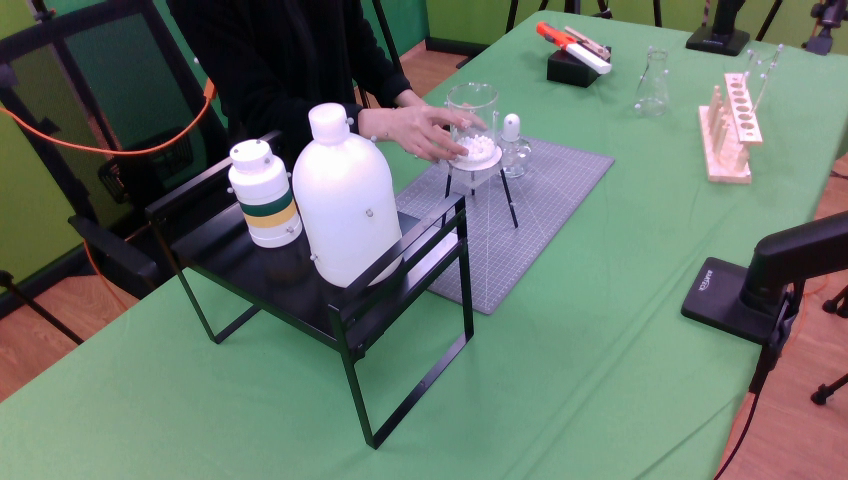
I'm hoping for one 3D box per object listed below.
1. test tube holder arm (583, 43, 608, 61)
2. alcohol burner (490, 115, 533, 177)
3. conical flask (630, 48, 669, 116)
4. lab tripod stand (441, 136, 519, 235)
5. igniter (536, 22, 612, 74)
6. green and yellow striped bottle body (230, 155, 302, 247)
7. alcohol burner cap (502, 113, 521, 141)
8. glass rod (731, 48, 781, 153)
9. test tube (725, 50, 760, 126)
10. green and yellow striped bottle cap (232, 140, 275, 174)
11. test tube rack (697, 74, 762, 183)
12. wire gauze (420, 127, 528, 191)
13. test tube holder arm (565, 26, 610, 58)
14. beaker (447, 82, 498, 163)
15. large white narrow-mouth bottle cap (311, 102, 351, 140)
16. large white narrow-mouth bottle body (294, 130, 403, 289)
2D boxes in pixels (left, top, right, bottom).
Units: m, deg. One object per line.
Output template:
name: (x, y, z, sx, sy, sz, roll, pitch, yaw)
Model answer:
test tube holder arm: (0.379, -0.420, 1.341, 0.010, 0.015, 0.087, -39, 41, 10)
alcohol burner: (0.157, -0.173, 1.083, 0.078, 0.119, 0.077, -4, 43, 4)
conical flask: (0.456, -0.317, 1.205, 0.075, 0.122, 0.075, -4, 41, 4)
lab tripod stand: (0.083, -0.086, 0.976, 0.148, 0.132, 0.147, -4, 43, 4)
igniter: (0.330, -0.439, 1.366, 0.057, 0.025, 0.274, -11, 41, -20)
green and yellow striped bottle body: (-0.188, -0.055, 0.714, 0.063, 0.120, 0.063, -4, 41, 4)
alcohol burner cap: (0.155, -0.200, 1.058, 0.034, 0.048, 0.033, -2, 50, 2)
glass rod: (0.554, -0.228, 1.014, 0.008, 0.200, 0.008, 1, 44, -1)
test tube: (0.570, -0.269, 1.086, 0.017, 0.151, 0.017, -1, 45, 2)
green and yellow striped bottle cap: (-0.192, -0.094, 0.680, 0.045, 0.020, 0.045, -5, 39, 5)
test tube rack: (0.547, -0.208, 1.094, 0.066, 0.085, 0.242, 5, 42, 15)
wire gauze: (0.076, -0.131, 0.927, 0.122, 0.011, 0.124, -34, 49, -26)
test tube holder arm: (0.369, -0.451, 1.373, 0.013, 0.015, 0.177, -39, 41, 10)
beaker: (0.074, -0.175, 0.903, 0.074, 0.101, 0.084, 6, 43, 13)
large white narrow-mouth bottle cap: (-0.089, -0.114, 0.579, 0.038, 0.024, 0.037, -4, 40, 3)
large white narrow-mouth bottle body: (-0.082, -0.047, 0.634, 0.102, 0.195, 0.101, -4, 40, 4)
